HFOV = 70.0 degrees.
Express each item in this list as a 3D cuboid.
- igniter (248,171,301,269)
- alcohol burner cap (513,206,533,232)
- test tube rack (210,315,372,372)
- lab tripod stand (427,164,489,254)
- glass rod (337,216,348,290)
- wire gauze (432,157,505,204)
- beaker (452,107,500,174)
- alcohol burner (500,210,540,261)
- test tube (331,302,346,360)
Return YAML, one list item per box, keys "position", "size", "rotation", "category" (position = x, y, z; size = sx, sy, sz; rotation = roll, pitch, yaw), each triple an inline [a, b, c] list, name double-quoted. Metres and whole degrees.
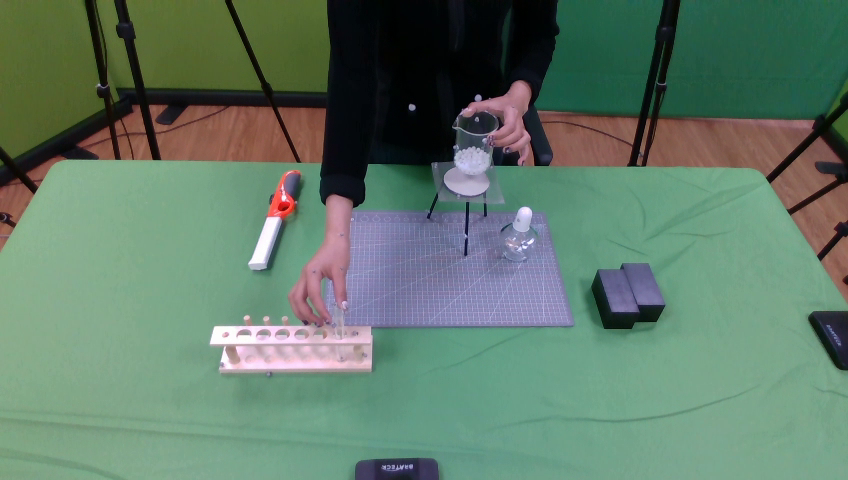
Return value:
- position: [-0.297, -0.049, 1.220]
  size: [0.057, 0.025, 0.275]
  rotation: [-1, 45, 9]
  category: "igniter"
- position: [0.187, -0.042, 1.134]
  size: [0.034, 0.048, 0.033]
  rotation: [6, 42, -5]
  category: "alcohol burner cap"
- position: [-0.208, 0.164, 0.982]
  size: [0.242, 0.085, 0.066]
  rotation: [1, 46, -4]
  category: "test tube rack"
- position: [0.078, -0.068, 1.188]
  size: [0.148, 0.132, 0.147]
  rotation: [3, 47, -3]
  category: "lab tripod stand"
- position: [-0.158, 0.021, 1.171]
  size: [0.008, 0.008, 0.198]
  rotation: [1, 43, -2]
  category: "glass rod"
- position: [0.081, -0.112, 1.137]
  size: [0.125, 0.011, 0.120]
  rotation: [-2, 48, -6]
  category: "wire gauze"
- position: [0.088, -0.174, 1.084]
  size: [0.084, 0.101, 0.073]
  rotation: [-8, 50, -10]
  category: "beaker"
- position: [0.185, -0.016, 1.159]
  size: [0.078, 0.120, 0.077]
  rotation: [2, 48, -2]
  category: "alcohol burner"
- position: [-0.132, 0.144, 0.937]
  size: [0.017, 0.151, 0.017]
  rotation: [2, 49, -3]
  category: "test tube"
